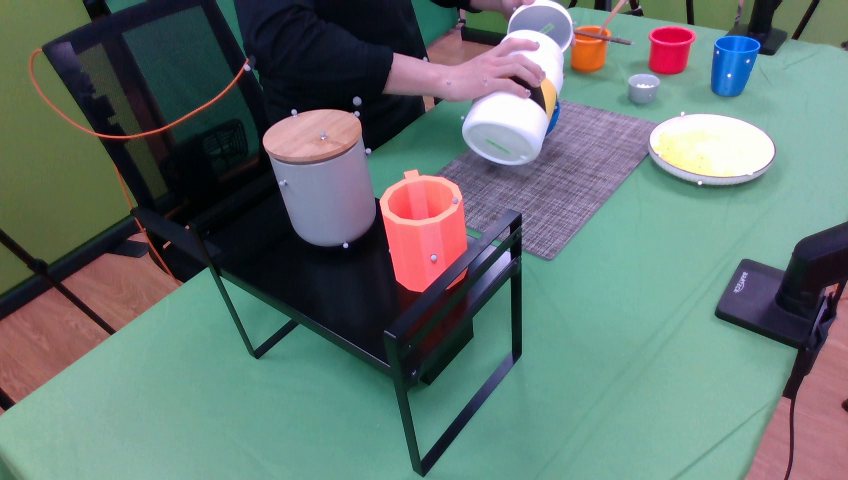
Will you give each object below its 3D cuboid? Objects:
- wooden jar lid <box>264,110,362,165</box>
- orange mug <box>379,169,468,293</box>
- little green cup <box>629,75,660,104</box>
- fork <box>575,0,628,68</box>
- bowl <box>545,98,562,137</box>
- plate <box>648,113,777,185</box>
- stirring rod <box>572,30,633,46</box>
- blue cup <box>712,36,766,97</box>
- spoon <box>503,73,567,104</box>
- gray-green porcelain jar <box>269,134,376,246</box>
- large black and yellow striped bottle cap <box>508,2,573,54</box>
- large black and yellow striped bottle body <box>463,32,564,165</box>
[{"bbox_3d":[-0.122,-0.112,0.673,0.108,0.021,0.108,-4,37,4],"label":"wooden jar lid"},{"bbox_3d":[-0.002,-0.019,0.665,0.083,0.101,0.125,-12,45,-4],"label":"orange mug"},{"bbox_3d":[0.457,-0.314,1.260,0.061,0.039,0.061,-4,40,4],"label":"little green cup"},{"bbox_3d":[0.413,-0.481,1.377,0.207,0.019,0.028,-57,43,12],"label":"fork"},{"bbox_3d":[0.187,-0.223,1.161,0.151,0.077,0.150,-4,40,4],"label":"bowl"},{"bbox_3d":[0.506,-0.158,1.073,0.209,0.038,0.208,-5,40,4],"label":"plate"},{"bbox_3d":[0.382,-0.453,1.345,0.174,0.006,0.014,26,52,33],"label":"stirring rod"},{"bbox_3d":[0.627,-0.350,1.227,0.092,0.100,0.092,-4,39,4],"label":"blue cup"},{"bbox_3d":[0.250,-0.336,1.332,0.194,0.022,0.041,-32,32,-25],"label":"spoon"},{"bbox_3d":[-0.115,-0.064,0.715,0.106,0.127,0.105,-4,40,4],"label":"gray-green porcelain jar"},{"bbox_3d":[0.208,-0.371,1.085,0.114,0.115,0.018,3,54,13],"label":"large black and yellow striped bottle cap"},{"bbox_3d":[0.150,-0.231,0.983,0.130,0.131,0.183,12,68,22],"label":"large black and yellow striped bottle body"}]
